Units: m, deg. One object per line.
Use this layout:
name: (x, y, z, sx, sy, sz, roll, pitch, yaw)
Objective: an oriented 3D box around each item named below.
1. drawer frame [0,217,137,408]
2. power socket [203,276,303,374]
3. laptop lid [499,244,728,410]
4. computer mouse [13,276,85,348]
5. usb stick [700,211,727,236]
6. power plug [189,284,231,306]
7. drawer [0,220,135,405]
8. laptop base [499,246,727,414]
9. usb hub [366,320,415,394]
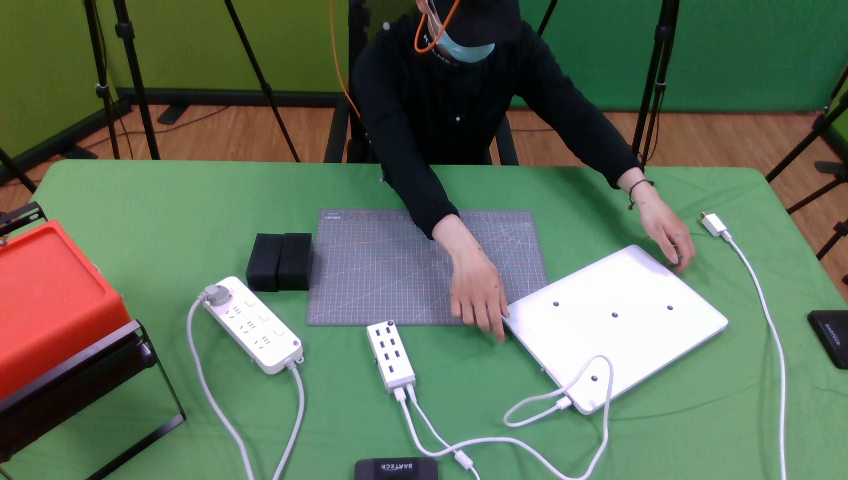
drawer frame: (-0.523, 0.094, 0.779, 0.200, 0.083, 0.213, 37, 55, 26)
power socket: (-0.296, 0.141, 1.034, 0.072, 0.033, 0.225, -35, 58, -30)
laptop lid: (0.338, 0.135, 1.081, 0.357, 0.013, 0.240, -21, 50, -23)
computer mouse: (-0.496, 0.090, 0.804, 0.063, 0.041, 0.116, -7, 42, -7)
usb stick: (0.606, -0.038, 1.273, 0.027, 0.021, 0.059, -18, 57, -20)
power plug: (-0.368, 0.100, 1.037, 0.072, 0.053, 0.035, -23, 54, -26)
drawer: (-0.522, 0.093, 0.782, 0.193, 0.073, 0.211, 38, 55, 27)
laptop base: (0.339, 0.145, 1.089, 0.354, 0.023, 0.234, -23, 49, -24)
usb hub: (-0.056, 0.192, 1.009, 0.049, 0.025, 0.124, -12, 49, -16)
